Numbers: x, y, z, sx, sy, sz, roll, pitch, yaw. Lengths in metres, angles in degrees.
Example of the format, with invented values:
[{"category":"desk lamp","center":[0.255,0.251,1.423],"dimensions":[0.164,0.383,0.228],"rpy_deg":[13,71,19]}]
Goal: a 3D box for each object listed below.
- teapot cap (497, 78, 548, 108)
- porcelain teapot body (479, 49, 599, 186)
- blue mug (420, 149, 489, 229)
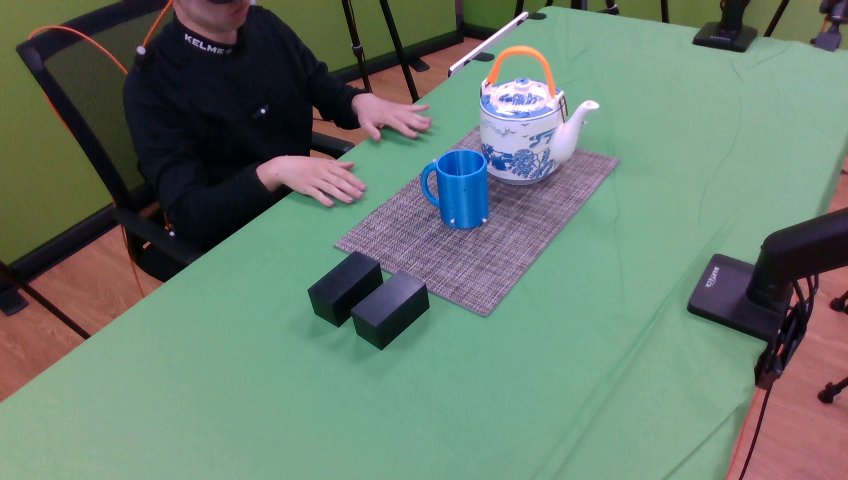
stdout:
[{"category":"teapot cap","center":[0.164,-0.246,1.009],"dimensions":[0.085,0.044,0.084],"rpy_deg":[-4,44,4]},{"category":"porcelain teapot body","center":[0.192,-0.208,1.023],"dimensions":[0.204,0.226,0.145],"rpy_deg":[16,46,25]},{"category":"blue mug","center":[0.048,-0.085,0.991],"dimensions":[0.116,0.106,0.082],"rpy_deg":[9,43,19]}]
